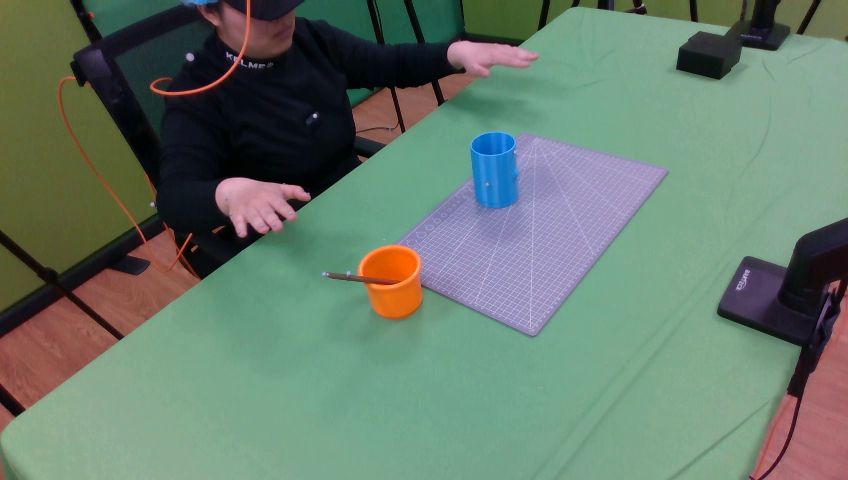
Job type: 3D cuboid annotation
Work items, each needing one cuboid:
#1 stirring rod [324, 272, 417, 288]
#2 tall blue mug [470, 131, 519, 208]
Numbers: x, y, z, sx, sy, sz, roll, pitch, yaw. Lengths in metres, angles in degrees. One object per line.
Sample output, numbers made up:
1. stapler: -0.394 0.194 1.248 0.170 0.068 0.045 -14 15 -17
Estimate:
1. stirring rod: -0.069 0.057 0.840 0.014 0.006 0.178 27 10 39
2. tall blue mug: 0.122 -0.129 1.042 0.078 0.108 0.106 -7 40 5
